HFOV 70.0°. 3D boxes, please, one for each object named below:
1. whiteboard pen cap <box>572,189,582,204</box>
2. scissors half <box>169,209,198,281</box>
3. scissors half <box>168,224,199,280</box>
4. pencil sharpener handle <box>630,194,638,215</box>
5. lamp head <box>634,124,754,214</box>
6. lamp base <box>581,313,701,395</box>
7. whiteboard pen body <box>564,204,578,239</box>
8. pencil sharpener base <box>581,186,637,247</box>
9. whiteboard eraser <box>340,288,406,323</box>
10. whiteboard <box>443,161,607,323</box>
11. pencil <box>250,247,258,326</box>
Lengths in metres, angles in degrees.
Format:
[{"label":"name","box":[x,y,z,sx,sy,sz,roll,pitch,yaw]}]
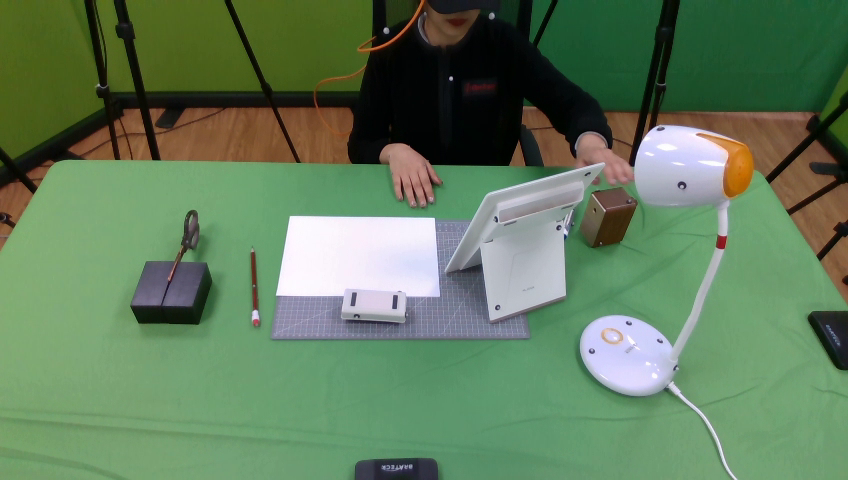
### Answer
[{"label":"whiteboard pen cap","box":[0.329,-0.094,1.307,0.018,0.018,0.033,18,51,13]},{"label":"scissors half","box":[-0.438,0.007,1.099,0.013,0.040,0.174,5,48,-5]},{"label":"scissors half","box":[-0.442,0.023,1.111,0.013,0.040,0.174,9,29,-8]},{"label":"pencil sharpener handle","box":[0.417,-0.068,1.215,0.031,0.068,0.036,-11,60,-15]},{"label":"lamp head","box":[0.351,-0.089,0.776,0.112,0.113,0.122,-30,30,-28]},{"label":"lamp base","box":[0.361,0.144,0.972,0.178,0.181,0.160,34,53,23]},{"label":"whiteboard pen body","box":[0.307,-0.053,1.271,0.017,0.017,0.140,18,50,13]},{"label":"pencil sharpener base","box":[0.369,-0.047,1.209,0.077,0.107,0.061,-11,48,-15]},{"label":"whiteboard eraser","box":[-0.088,0.117,1.060,0.113,0.042,0.055,3,45,-1]},{"label":"whiteboard","box":[0.185,0.025,1.029,0.217,0.306,0.143,-15,68,-18]},{"label":"pencil","box":[-0.312,0.079,1.107,0.012,0.012,0.192,-7,46,-11]}]
